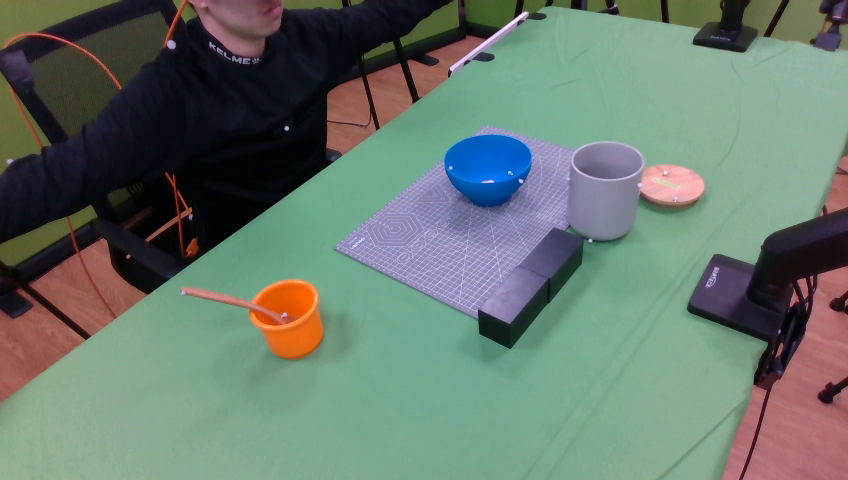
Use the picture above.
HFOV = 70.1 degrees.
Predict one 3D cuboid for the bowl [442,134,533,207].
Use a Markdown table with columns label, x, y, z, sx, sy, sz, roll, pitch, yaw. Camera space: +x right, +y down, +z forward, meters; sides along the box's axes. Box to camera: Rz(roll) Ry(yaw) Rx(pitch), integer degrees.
| label | x | y | z | sx | sy | sz | roll | pitch | yaw |
| --- | --- | --- | --- | --- | --- | --- | --- | --- | --- |
| bowl | 0.110 | -0.109 | 1.033 | 0.151 | 0.077 | 0.150 | -4 | 40 | 4 |

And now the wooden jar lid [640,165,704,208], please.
| label | x | y | z | sx | sy | sz | roll | pitch | yaw |
| --- | --- | --- | --- | --- | --- | --- | --- | --- | --- |
| wooden jar lid | 0.410 | -0.088 | 1.015 | 0.108 | 0.021 | 0.108 | -5 | 41 | 5 |

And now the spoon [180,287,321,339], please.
| label | x | y | z | sx | sy | sz | roll | pitch | yaw |
| --- | --- | --- | --- | --- | --- | --- | --- | --- | --- |
| spoon | -0.223 | 0.093 | 0.796 | 0.021 | 0.195 | 0.041 | -47 | 35 | 23 |

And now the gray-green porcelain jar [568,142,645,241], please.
| label | x | y | z | sx | sy | sz | roll | pitch | yaw |
| --- | --- | --- | --- | --- | --- | --- | --- | --- | --- |
| gray-green porcelain jar | 0.276 | -0.070 | 0.931 | 0.106 | 0.127 | 0.105 | -4 | 41 | 4 |
